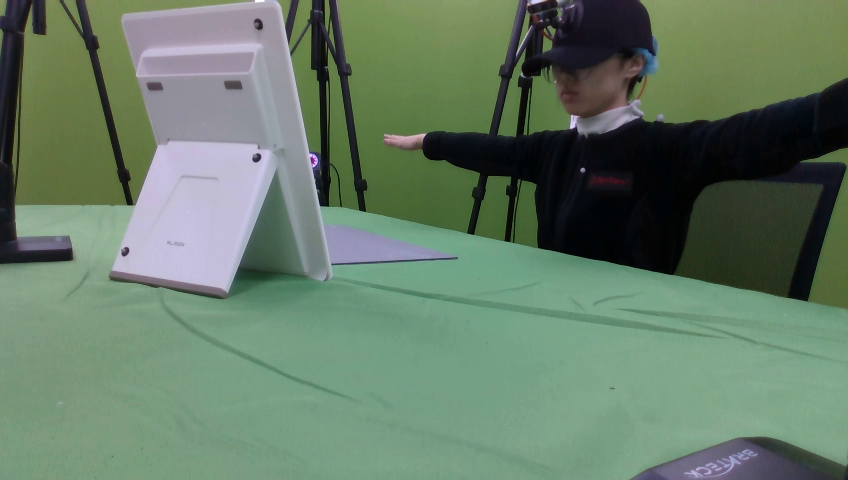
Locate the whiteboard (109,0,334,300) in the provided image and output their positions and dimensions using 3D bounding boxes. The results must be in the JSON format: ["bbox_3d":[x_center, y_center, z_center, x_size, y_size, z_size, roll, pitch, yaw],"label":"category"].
[{"bbox_3d":[-0.247,-0.072,0.624,0.216,0.305,0.144,6,28,26],"label":"whiteboard"}]

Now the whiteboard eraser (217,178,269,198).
[{"bbox_3d":[-0.389,-0.113,1.303,0.055,0.042,0.113,4,7,20],"label":"whiteboard eraser"}]
